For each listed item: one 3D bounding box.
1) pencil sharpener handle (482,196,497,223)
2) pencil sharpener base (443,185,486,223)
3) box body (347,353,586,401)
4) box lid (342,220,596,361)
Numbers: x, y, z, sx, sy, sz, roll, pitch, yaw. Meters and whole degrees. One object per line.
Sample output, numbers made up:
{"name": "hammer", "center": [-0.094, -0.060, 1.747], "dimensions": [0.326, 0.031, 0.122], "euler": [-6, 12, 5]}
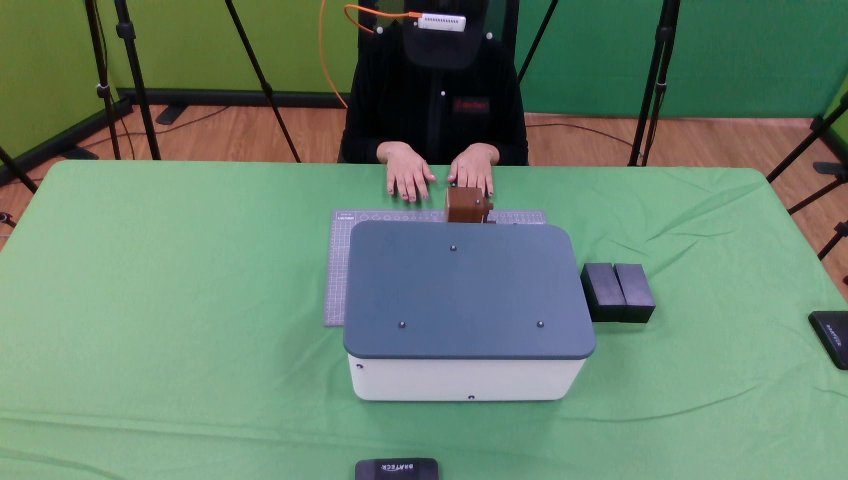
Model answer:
{"name": "pencil sharpener handle", "center": [0.130, -0.055, 1.182], "dimensions": [0.031, 0.068, 0.036], "euler": [2, 43, -3]}
{"name": "pencil sharpener base", "center": [0.078, -0.049, 1.188], "dimensions": [0.077, 0.107, 0.061], "euler": [2, 46, -3]}
{"name": "box body", "center": [0.060, 0.120, 0.988], "dimensions": [0.364, 0.161, 0.252], "euler": [1, 47, -4]}
{"name": "box lid", "center": [0.066, 0.070, 0.934], "dimensions": [0.372, 0.015, 0.261], "euler": [1, 48, -4]}
